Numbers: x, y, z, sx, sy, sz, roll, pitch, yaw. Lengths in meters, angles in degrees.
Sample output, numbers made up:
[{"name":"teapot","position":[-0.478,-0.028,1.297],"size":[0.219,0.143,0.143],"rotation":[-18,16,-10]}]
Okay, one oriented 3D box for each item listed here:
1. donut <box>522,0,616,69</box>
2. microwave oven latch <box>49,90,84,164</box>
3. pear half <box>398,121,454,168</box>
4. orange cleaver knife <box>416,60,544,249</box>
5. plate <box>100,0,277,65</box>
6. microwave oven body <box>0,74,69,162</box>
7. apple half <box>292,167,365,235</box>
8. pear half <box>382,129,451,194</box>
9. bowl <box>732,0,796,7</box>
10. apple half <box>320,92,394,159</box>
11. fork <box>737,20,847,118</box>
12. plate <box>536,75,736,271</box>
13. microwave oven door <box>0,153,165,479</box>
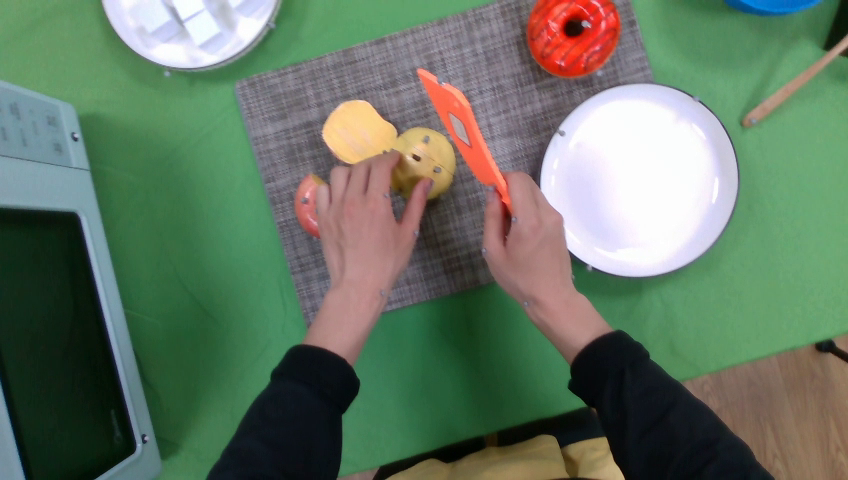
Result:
[{"name":"donut","position":[0.154,-0.233,0.649],"size":[0.099,0.048,0.099],"rotation":[0,93,6]},{"name":"microwave oven latch","position":[-0.405,-0.124,0.671],"size":[0.030,0.029,0.079],"rotation":[-12,92,3]},{"name":"pear half","position":[0.007,-0.107,0.639],"size":[0.070,0.088,0.031],"rotation":[32,93,7]},{"name":"orange cleaver knife","position":[0.054,-0.073,0.557],"size":[0.012,0.076,0.213],"rotation":[-40,125,-6]},{"name":"plate","position":[-0.257,-0.297,0.675],"size":[0.207,0.039,0.207],"rotation":[0,92,3]},{"name":"microwave oven body","position":[-0.513,0.086,0.589],"size":[0.326,0.260,0.441],"rotation":[-14,92,3]},{"name":"apple half","position":[-0.109,-0.035,0.657],"size":[0.081,0.074,0.053],"rotation":[38,98,-3]},{"name":"pear half","position":[-0.014,-0.078,0.632],"size":[0.076,0.110,0.056],"rotation":[33,92,7]},{"name":"bowl","position":[0.345,-0.307,0.623],"size":[0.151,0.077,0.151],"rotation":[0,93,3]},{"name":"apple half","position":[-0.077,-0.119,0.668],"size":[0.081,0.033,0.081],"rotation":[3,71,-10]},{"name":"fork","position":[0.412,-0.200,0.619],"size":[0.028,0.018,0.207],"rotation":[42,114,-7]},{"name":"plate","position":[0.225,-0.071,0.655],"size":[0.209,0.038,0.209],"rotation":[0,92,3]},{"name":"microwave oven door","position":[-0.361,0.093,0.576],"size":[0.039,0.244,0.355],"rotation":[-14,91,3]}]
